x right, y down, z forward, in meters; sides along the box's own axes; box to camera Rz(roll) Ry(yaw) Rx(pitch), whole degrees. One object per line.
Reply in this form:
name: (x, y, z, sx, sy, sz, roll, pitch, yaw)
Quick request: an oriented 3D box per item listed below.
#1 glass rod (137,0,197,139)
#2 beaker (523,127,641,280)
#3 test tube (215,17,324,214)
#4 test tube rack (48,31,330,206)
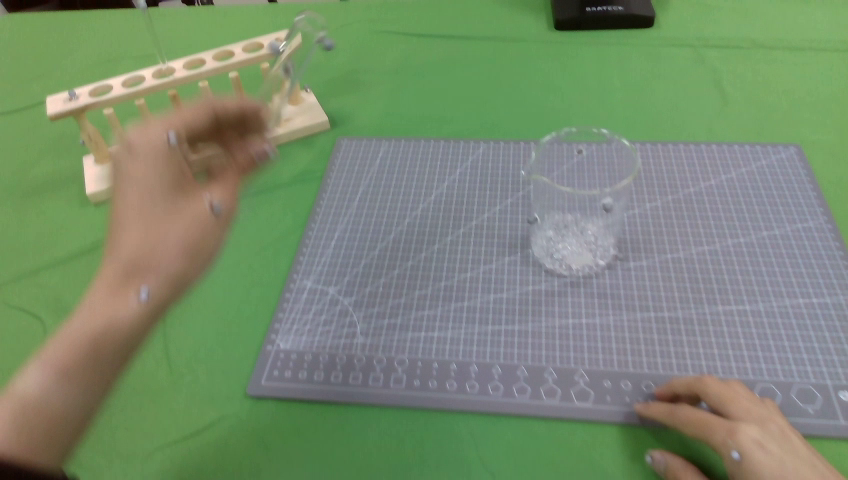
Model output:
glass rod: (-0.241, -0.169, 0.556, 0.008, 0.201, 0.008, 0, 50, 0)
beaker: (0.116, -0.024, 0.467, 0.084, 0.101, 0.073, -11, 47, -3)
test tube: (-0.093, -0.063, 0.346, 0.017, 0.150, 0.017, 21, 45, -22)
test tube rack: (-0.226, -0.124, 0.604, 0.243, 0.086, 0.066, -21, 49, -14)
